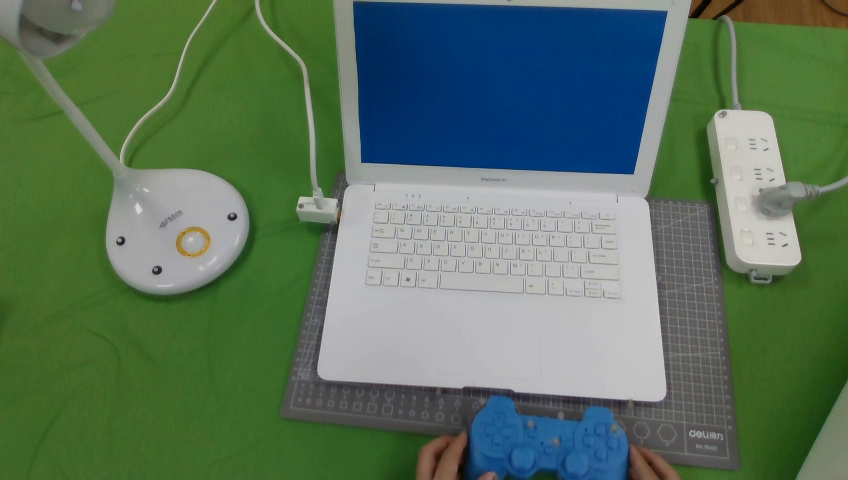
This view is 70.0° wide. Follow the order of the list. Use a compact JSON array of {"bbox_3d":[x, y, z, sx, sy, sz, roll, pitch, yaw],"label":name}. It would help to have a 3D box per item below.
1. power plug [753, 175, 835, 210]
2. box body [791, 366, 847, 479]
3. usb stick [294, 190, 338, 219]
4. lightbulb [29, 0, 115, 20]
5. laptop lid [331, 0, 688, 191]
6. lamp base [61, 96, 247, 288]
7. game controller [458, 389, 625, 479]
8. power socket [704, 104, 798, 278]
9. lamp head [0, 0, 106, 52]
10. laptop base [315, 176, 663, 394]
[{"bbox_3d":[0.400,-0.045,0.663,0.072,0.053,0.035,14,64,7],"label":"power plug"},{"bbox_3d":[0.527,0.148,0.517,0.252,0.161,0.363,36,70,18],"label":"box body"},{"bbox_3d":[-0.117,-0.040,0.694,0.059,0.027,0.021,7,58,2],"label":"usb stick"},{"bbox_3d":[-0.226,-0.183,0.355,0.059,0.059,0.108,-34,106,-14],"label":"lightbulb"},{"bbox_3d":[0.080,-0.160,0.650,0.356,0.243,0.013,1,33,4],"label":"laptop lid"},{"bbox_3d":[-0.298,-0.060,0.633,0.178,0.182,0.160,30,68,19],"label":"lamp base"},{"bbox_3d":[0.113,0.194,0.570,0.155,0.052,0.096,5,62,4],"label":"game controller"},{"bbox_3d":[0.374,-0.066,0.699,0.072,0.033,0.225,4,64,3],"label":"power socket"},{"bbox_3d":[-0.257,-0.190,0.358,0.123,0.112,0.112,32,66,-9],"label":"lamp head"},{"bbox_3d":[0.071,0.042,0.662,0.354,0.023,0.234,3,67,3],"label":"laptop base"}]
